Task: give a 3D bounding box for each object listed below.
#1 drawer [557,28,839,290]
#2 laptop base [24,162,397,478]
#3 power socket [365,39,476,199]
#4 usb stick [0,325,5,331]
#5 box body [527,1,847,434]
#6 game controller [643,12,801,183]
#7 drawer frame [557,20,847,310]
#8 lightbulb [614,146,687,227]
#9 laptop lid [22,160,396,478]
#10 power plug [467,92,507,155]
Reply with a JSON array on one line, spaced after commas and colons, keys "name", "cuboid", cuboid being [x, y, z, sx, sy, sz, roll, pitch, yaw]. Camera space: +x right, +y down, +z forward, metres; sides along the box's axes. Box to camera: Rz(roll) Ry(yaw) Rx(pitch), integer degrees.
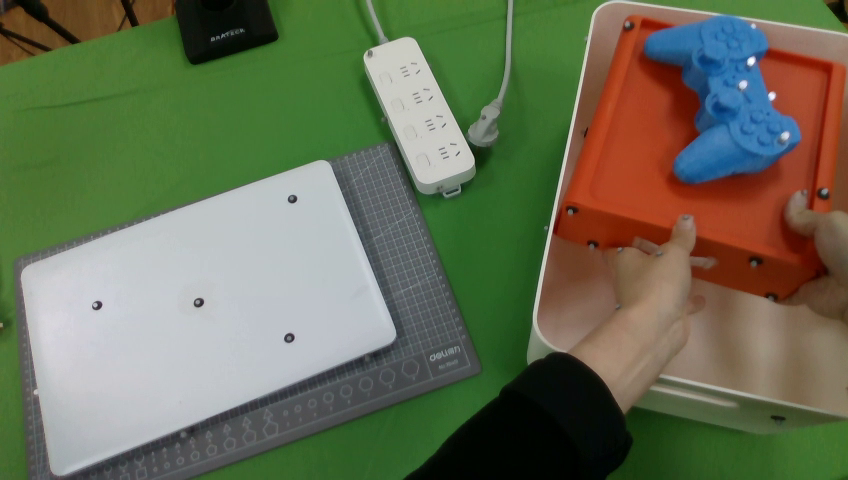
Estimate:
[{"name": "drawer", "cuboid": [0.242, -0.075, 0.539, 0.194, 0.074, 0.210, 17, 67, 13]}, {"name": "laptop base", "cuboid": [-0.230, 0.070, 0.642, 0.354, 0.023, 0.233, -21, 70, -6]}, {"name": "power socket", "cuboid": [-0.007, -0.150, 0.720, 0.072, 0.033, 0.224, -20, 66, -7]}, {"name": "usb stick", "cuboid": [-0.475, 0.087, 0.635, 0.059, 0.021, 0.027, 5, 67, -31]}, {"name": "box body", "cuboid": [0.250, -0.021, 0.577, 0.253, 0.161, 0.362, 12, 67, 8]}, {"name": "game controller", "cuboid": [0.246, -0.124, 0.501, 0.097, 0.052, 0.154, -2, 67, -2]}, {"name": "drawer frame", "cuboid": [0.227, -0.075, 0.516, 0.202, 0.083, 0.212, 28, 41, -3]}, {"name": "lightbulb", "cuboid": [0.194, -0.046, 0.536, 0.059, 0.060, 0.106, -4, 47, 2]}, {"name": "laptop lid", "cuboid": [-0.230, 0.067, 0.630, 0.357, 0.013, 0.239, -20, 69, -5]}, {"name": "power plug", "cuboid": [0.080, -0.132, 0.704, 0.035, 0.053, 0.072, 38, 55, 22]}]
